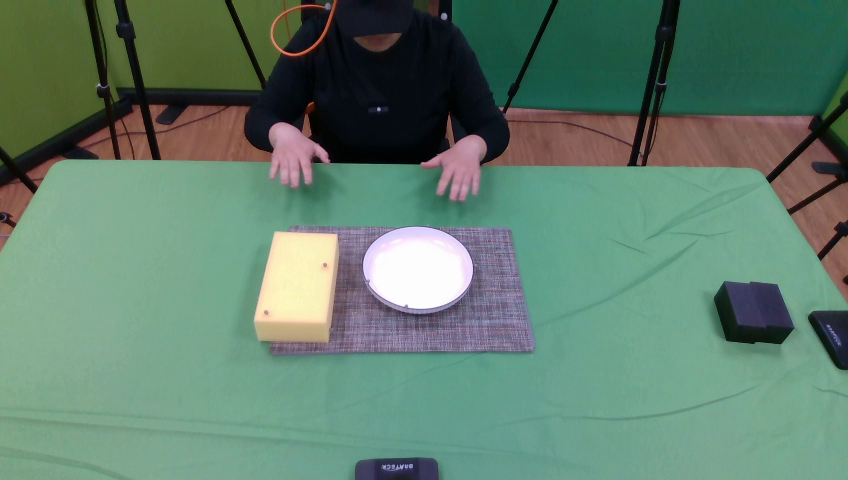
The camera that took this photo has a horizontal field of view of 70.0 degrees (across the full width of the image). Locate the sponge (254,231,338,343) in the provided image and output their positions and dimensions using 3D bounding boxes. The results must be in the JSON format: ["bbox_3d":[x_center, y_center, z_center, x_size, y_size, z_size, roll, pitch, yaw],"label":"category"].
[{"bbox_3d":[-0.221,0.079,1.073,0.118,0.061,0.205,1,46,-3],"label":"sponge"}]

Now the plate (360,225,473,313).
[{"bbox_3d":[-0.014,0.057,1.126,0.208,0.039,0.206,2,46,-2],"label":"plate"}]
